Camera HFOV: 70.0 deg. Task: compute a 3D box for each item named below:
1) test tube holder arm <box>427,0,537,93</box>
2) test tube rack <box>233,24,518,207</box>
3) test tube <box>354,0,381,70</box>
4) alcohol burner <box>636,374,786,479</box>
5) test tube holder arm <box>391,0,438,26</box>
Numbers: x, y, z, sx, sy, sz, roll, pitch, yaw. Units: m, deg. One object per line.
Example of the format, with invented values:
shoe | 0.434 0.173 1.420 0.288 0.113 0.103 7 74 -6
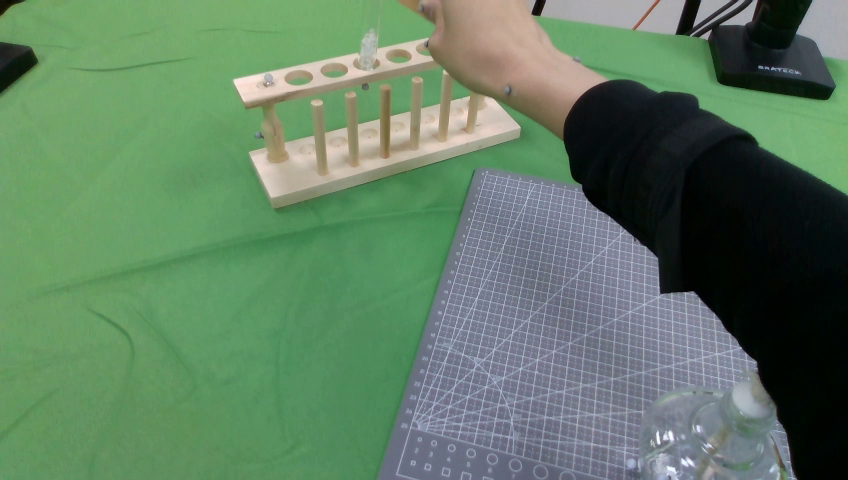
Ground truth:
test tube holder arm | 0.013 -0.160 0.435 0.177 0.015 0.013 42 50 20
test tube rack | -0.031 -0.113 0.531 0.243 0.086 0.066 -19 51 -19
test tube | -0.041 -0.189 0.465 0.017 0.151 0.017 7 43 -6
alcohol burner | 0.156 0.103 0.320 0.078 0.120 0.077 1 49 0
test tube holder arm | -0.023 -0.184 0.445 0.087 0.015 0.010 36 48 15
